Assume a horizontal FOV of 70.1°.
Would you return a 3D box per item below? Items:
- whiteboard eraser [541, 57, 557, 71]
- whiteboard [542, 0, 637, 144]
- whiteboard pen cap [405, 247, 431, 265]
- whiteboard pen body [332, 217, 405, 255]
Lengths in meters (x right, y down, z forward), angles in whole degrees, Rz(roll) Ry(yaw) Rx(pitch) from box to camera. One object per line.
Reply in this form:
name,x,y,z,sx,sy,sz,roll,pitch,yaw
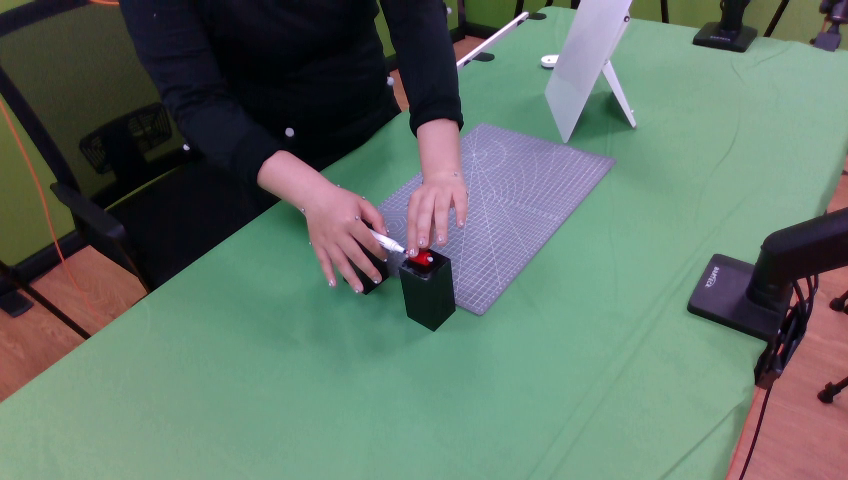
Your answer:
whiteboard eraser,0.323,-0.412,1.407,0.101,0.019,0.041,1,41,11
whiteboard,0.366,-0.351,1.160,0.144,0.305,0.216,10,39,-10
whiteboard pen cap,-0.009,0.020,0.795,0.032,0.017,0.017,18,46,28
whiteboard pen body,-0.074,-0.004,0.836,0.139,0.017,0.017,23,49,31
